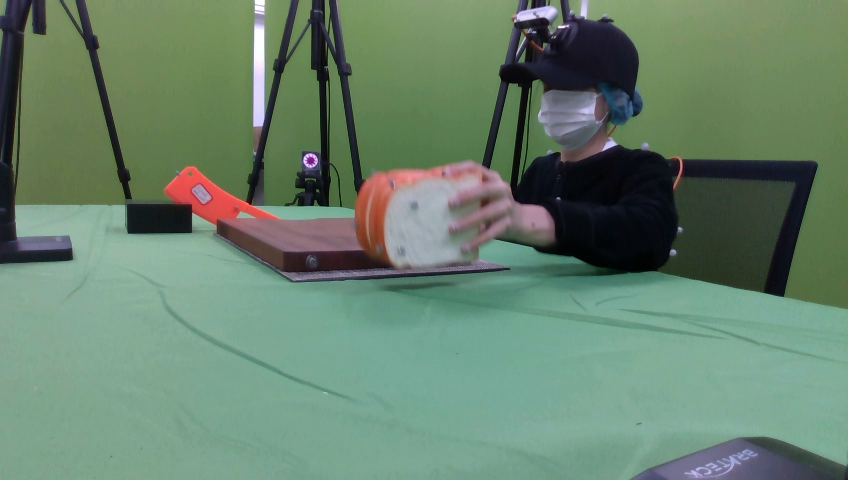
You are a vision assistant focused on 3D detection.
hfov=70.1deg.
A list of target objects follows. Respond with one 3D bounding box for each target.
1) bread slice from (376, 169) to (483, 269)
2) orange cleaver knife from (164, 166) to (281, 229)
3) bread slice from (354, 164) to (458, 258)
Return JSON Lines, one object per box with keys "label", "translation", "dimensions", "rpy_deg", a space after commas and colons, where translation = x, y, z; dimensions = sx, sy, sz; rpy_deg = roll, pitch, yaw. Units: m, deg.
{"label": "bread slice", "translation": [0.009, -0.018, 0.650], "dimensions": [0.135, 0.107, 0.018], "rpy_deg": [-10, 15, -35]}
{"label": "orange cleaver knife", "translation": [-0.369, -0.061, 1.121], "dimensions": [0.212, 0.077, 0.012], "rpy_deg": [31, -8, -29]}
{"label": "bread slice", "translation": [-0.019, -0.033, 0.690], "dimensions": [0.132, 0.105, 0.019], "rpy_deg": [-7, 16, -32]}
